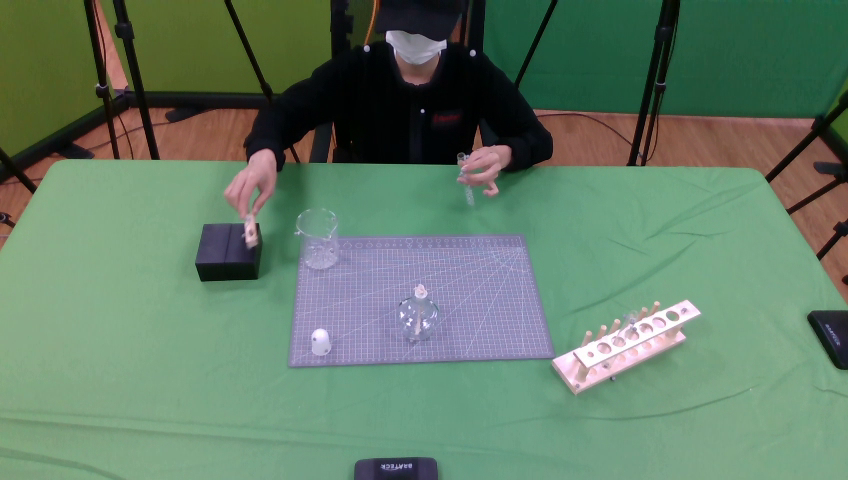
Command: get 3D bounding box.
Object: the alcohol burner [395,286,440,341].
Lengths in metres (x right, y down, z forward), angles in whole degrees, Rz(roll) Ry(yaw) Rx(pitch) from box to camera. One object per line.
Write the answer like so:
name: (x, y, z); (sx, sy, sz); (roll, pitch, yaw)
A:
alcohol burner: (-0.010, 0.116, 1.018); (0.078, 0.119, 0.077); (3, 47, -3)

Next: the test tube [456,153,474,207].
test tube: (0.082, -0.116, 1.201); (0.017, 0.151, 0.017); (-7, 52, 9)

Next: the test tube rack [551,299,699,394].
test tube rack: (0.339, 0.166, 1.021); (0.242, 0.085, 0.066); (-19, 50, -21)

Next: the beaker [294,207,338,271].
beaker: (-0.196, 0.003, 1.123); (0.074, 0.101, 0.083); (-23, 53, -24)

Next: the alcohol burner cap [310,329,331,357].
alcohol burner cap: (-0.173, 0.168, 1.004); (0.034, 0.048, 0.033); (2, 46, -2)

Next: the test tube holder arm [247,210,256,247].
test tube holder arm: (-0.307, -0.021, 1.076); (0.010, 0.015, 0.087); (-6, 43, -17)

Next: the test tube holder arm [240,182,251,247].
test tube holder arm: (-0.326, -0.050, 1.106); (0.013, 0.015, 0.177); (-7, 43, -17)

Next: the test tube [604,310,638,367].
test tube: (0.310, 0.158, 0.957); (0.017, 0.151, 0.017); (1, 49, -1)
